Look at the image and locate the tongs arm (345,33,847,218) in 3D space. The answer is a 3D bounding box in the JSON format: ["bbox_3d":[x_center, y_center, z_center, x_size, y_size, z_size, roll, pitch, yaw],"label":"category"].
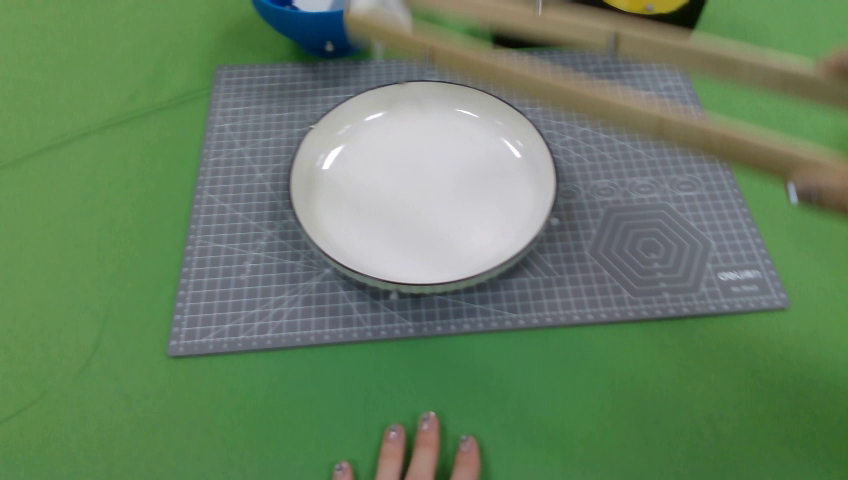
[{"bbox_3d":[0.113,-0.066,0.338,0.385,0.028,0.028,22,60,23],"label":"tongs arm"}]

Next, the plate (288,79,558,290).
[{"bbox_3d":[0.000,-0.047,0.484,0.208,0.039,0.205,0,57,0],"label":"plate"}]

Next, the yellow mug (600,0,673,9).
[{"bbox_3d":[0.183,-0.266,0.553,0.131,0.064,0.099,-18,58,-10],"label":"yellow mug"}]

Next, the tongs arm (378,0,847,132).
[{"bbox_3d":[0.128,-0.087,0.349,0.382,0.027,0.050,19,62,22],"label":"tongs arm"}]

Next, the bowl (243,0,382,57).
[{"bbox_3d":[-0.099,-0.232,0.584,0.151,0.077,0.150,0,56,0],"label":"bowl"}]
